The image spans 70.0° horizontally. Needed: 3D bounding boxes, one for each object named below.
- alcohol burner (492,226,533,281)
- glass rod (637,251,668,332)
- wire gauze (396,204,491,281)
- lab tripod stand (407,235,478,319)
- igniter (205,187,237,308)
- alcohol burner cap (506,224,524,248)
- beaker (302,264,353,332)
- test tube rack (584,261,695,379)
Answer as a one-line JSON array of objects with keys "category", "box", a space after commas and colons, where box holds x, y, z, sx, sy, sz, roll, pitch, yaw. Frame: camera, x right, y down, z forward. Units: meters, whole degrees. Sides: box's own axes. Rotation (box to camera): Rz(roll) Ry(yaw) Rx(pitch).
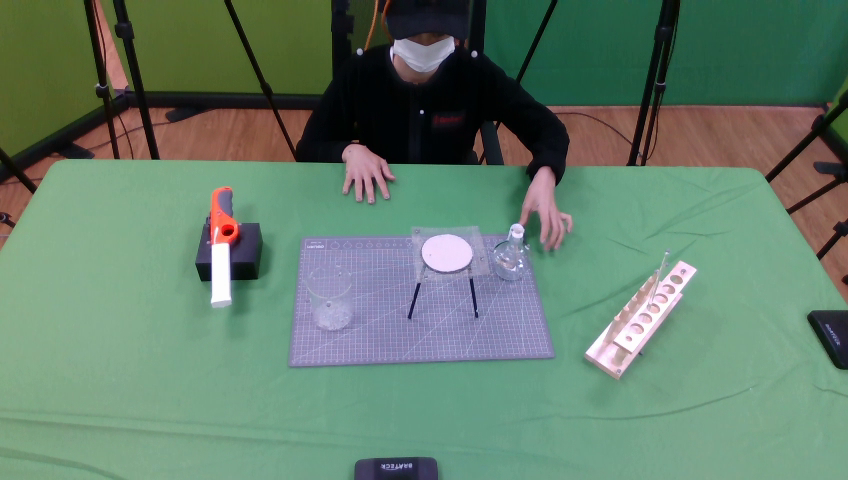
[{"category": "alcohol burner", "box": [0.166, 0.020, 1.125, 0.078, 0.120, 0.077, 1, 46, -1]}, {"category": "glass rod", "box": [0.378, 0.090, 1.005, 0.008, 0.201, 0.008, -1, 44, 1]}, {"category": "wire gauze", "box": [0.032, 0.004, 0.999, 0.125, 0.011, 0.120, -22, 54, -14]}, {"category": "lab tripod stand", "box": [0.032, 0.065, 1.057, 0.148, 0.132, 0.147, 1, 45, -1]}, {"category": "igniter", "box": [-0.367, 0.004, 1.097, 0.057, 0.025, 0.274, -7, 51, -11]}, {"category": "alcohol burner cap", "box": [0.183, -0.010, 1.206, 0.034, 0.048, 0.033, 1, 45, -1]}, {"category": "beaker", "box": [-0.162, 0.101, 1.030, 0.084, 0.101, 0.073, 4, 46, 0]}, {"category": "test tube rack", "box": [0.380, 0.127, 1.062, 0.066, 0.085, 0.242, 34, 53, 26]}]
